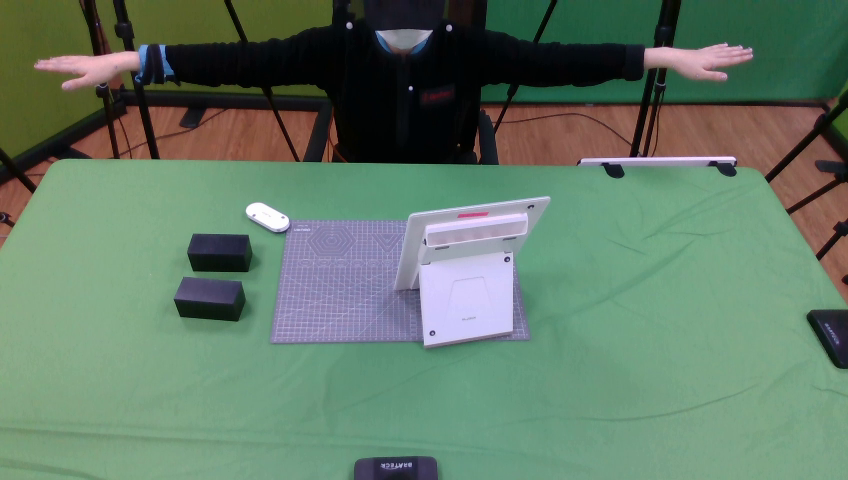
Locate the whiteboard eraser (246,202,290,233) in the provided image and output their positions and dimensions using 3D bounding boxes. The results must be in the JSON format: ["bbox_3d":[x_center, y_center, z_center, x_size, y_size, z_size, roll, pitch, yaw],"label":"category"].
[{"bbox_3d":[-0.314,-0.047,1.218,0.101,0.019,0.041,28,51,22],"label":"whiteboard eraser"}]

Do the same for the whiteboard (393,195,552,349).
[{"bbox_3d":[0.077,0.071,0.977,0.217,0.306,0.143,-7,66,-11],"label":"whiteboard"}]
